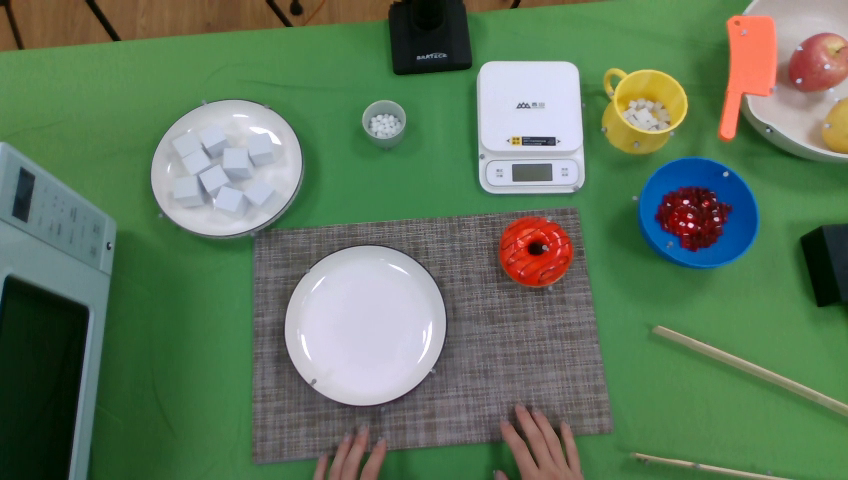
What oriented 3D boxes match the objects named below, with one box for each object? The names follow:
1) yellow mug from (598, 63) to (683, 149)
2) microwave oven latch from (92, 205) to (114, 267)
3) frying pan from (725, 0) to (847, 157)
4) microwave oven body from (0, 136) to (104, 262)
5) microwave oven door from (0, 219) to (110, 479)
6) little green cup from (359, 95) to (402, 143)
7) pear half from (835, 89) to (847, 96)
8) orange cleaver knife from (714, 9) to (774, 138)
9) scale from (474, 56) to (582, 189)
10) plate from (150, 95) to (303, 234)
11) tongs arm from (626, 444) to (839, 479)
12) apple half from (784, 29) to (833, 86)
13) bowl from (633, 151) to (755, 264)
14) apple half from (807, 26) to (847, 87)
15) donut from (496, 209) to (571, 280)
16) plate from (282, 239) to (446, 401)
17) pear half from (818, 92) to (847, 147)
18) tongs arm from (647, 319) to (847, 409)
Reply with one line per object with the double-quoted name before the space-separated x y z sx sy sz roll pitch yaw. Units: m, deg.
"yellow mug" 0.294 -0.199 0.859 0.100 0.064 0.130 -36 75 -10
"microwave oven latch" -0.429 -0.005 0.797 0.030 0.029 0.078 -1 74 0
"frying pan" 0.623 -0.166 0.828 0.307 0.103 0.483 -31 67 -8
"microwave oven body" -0.573 0.140 0.653 0.326 0.261 0.439 -2 74 -1
"microwave oven door" -0.425 0.174 0.637 0.039 0.245 0.353 -2 73 0
"little green cup" -0.060 -0.171 0.866 0.061 0.039 0.061 0 73 1
"pear half" 0.607 -0.190 0.838 0.070 0.088 0.031 30 77 11
"orange cleaver knife" 0.439 -0.232 0.830 0.077 0.012 0.210 13 74 5
"scale" 0.148 -0.171 0.869 0.149 0.032 0.199 0 74 1
"plate" -0.270 -0.103 0.846 0.208 0.039 0.206 0 73 0
"tongs arm" 0.442 0.265 0.734 0.384 0.027 0.050 10 69 3
"apple half" 0.537 -0.254 0.865 0.033 0.081 0.081 -13 73 -8
"bowl" 0.344 -0.033 0.803 0.151 0.077 0.150 0 74 0
"apple half" 0.575 -0.263 0.869 0.053 0.075 0.080 -13 70 -7
"donut" 0.144 0.006 0.805 0.099 0.048 0.098 -1 74 2
"plate" -0.076 0.101 0.780 0.209 0.038 0.208 0 74 1
"pear half" 0.585 -0.165 0.821 0.076 0.110 0.056 31 76 13
"tongs arm" 0.467 0.187 0.762 0.386 0.028 0.028 24 67 8
